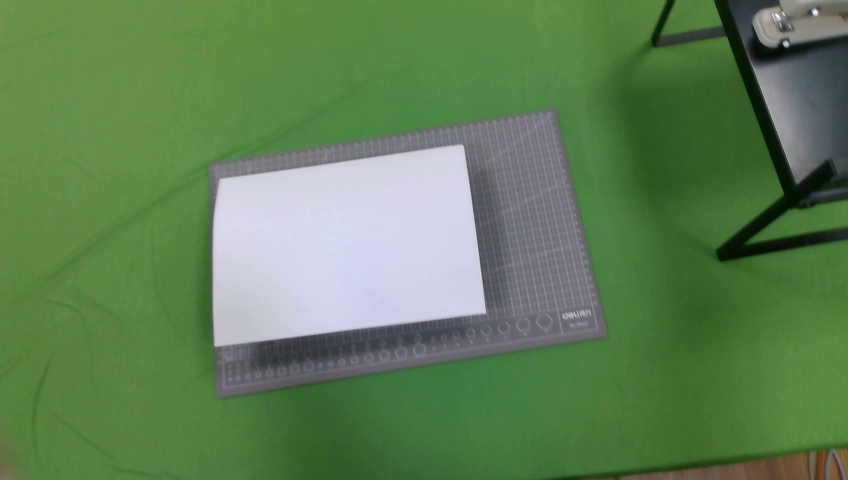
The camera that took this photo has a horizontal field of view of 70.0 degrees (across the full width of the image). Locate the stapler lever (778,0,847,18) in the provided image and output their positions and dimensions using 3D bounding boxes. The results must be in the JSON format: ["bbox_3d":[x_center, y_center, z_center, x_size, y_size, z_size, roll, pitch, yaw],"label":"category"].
[{"bbox_3d":[0.383,-0.228,0.553,0.118,0.040,0.026,-11,75,-1],"label":"stapler lever"}]

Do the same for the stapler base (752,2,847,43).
[{"bbox_3d":[0.383,-0.220,0.576,0.130,0.024,0.041,-10,75,-1],"label":"stapler base"}]
